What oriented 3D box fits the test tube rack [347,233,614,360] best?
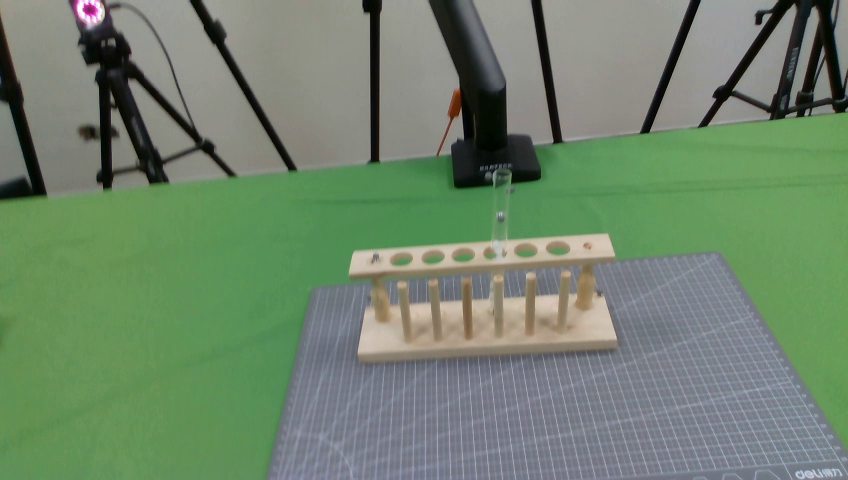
[{"bbox_3d":[0.053,0.055,0.573,0.242,0.086,0.066,-4,36,5],"label":"test tube rack"}]

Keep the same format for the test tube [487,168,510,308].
[{"bbox_3d":[0.067,0.004,0.556,0.017,0.151,0.017,-1,34,1],"label":"test tube"}]
